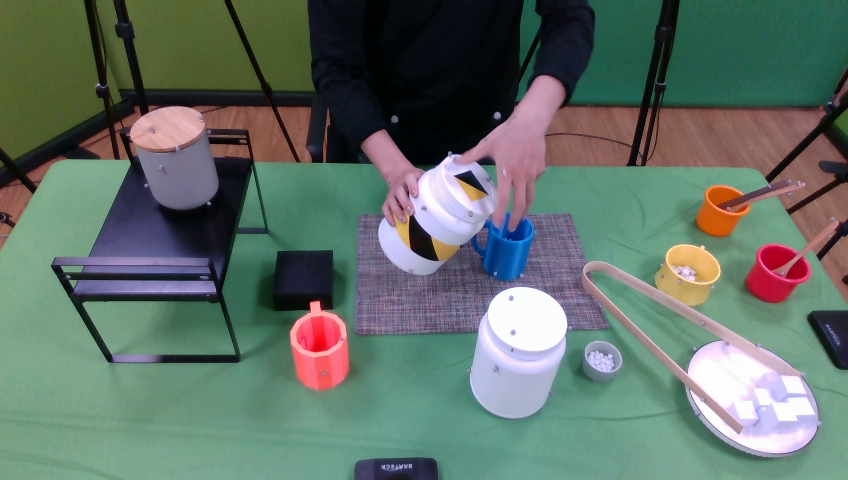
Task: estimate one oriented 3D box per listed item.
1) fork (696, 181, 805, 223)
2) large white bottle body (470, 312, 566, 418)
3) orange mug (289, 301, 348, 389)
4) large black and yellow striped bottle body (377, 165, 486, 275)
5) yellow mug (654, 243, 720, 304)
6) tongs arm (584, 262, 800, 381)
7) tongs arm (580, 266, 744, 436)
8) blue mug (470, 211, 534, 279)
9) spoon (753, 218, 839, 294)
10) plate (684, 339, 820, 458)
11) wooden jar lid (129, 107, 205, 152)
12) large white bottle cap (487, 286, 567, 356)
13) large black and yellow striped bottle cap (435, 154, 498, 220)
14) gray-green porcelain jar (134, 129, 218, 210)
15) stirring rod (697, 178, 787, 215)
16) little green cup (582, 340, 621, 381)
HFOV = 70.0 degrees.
[{"bbox_3d":[0.659,-0.077,1.231,0.207,0.019,0.028,-26,35,34],"label":"fork"},{"bbox_3d":[0.143,0.173,0.930,0.131,0.185,0.130,2,46,-2],"label":"large white bottle body"},{"bbox_3d":[-0.170,0.162,0.976,0.083,0.101,0.125,-8,52,-11],"label":"orange mug"},{"bbox_3d":[0.020,-0.039,1.012,0.131,0.184,0.130,23,44,-25],"label":"large black and yellow striped bottle body"},{"bbox_3d":[0.504,0.054,1.154,0.099,0.064,0.130,28,50,22],"label":"yellow mug"},{"bbox_3d":[0.451,0.137,1.063,0.051,0.027,0.382,-34,51,-27],"label":"tongs arm"},{"bbox_3d":[0.384,0.174,1.028,0.028,0.028,0.385,-25,46,-14],"label":"tongs arm"},{"bbox_3d":[0.141,0.005,1.140,0.116,0.106,0.082,18,48,13],"label":"blue mug"},{"bbox_3d":[0.700,0.031,1.138,0.194,0.022,0.041,-47,55,14],"label":"spoon"},{"bbox_3d":[0.523,0.256,0.982,0.208,0.039,0.206,2,46,-2],"label":"plate"},{"bbox_3d":[-0.385,-0.163,0.915,0.108,0.021,0.107,2,47,-2],"label":"wooden jar lid"},{"bbox_3d":[0.147,0.114,0.869,0.115,0.018,0.114,3,46,-3],"label":"large white bottle cap"},{"bbox_3d":[0.069,-0.085,0.956,0.115,0.019,0.114,22,49,-28],"label":"large black and yellow striped bottle cap"},{"bbox_3d":[-0.388,-0.120,0.960,0.106,0.127,0.105,2,46,-2],"label":"gray-green porcelain jar"},{"bbox_3d":[0.650,-0.088,1.246,0.006,0.176,0.014,29,50,-39],"label":"stirring rod"},{"bbox_3d":[0.295,0.204,1.014,0.061,0.039,0.061,2,45,-2],"label":"little green cup"}]
